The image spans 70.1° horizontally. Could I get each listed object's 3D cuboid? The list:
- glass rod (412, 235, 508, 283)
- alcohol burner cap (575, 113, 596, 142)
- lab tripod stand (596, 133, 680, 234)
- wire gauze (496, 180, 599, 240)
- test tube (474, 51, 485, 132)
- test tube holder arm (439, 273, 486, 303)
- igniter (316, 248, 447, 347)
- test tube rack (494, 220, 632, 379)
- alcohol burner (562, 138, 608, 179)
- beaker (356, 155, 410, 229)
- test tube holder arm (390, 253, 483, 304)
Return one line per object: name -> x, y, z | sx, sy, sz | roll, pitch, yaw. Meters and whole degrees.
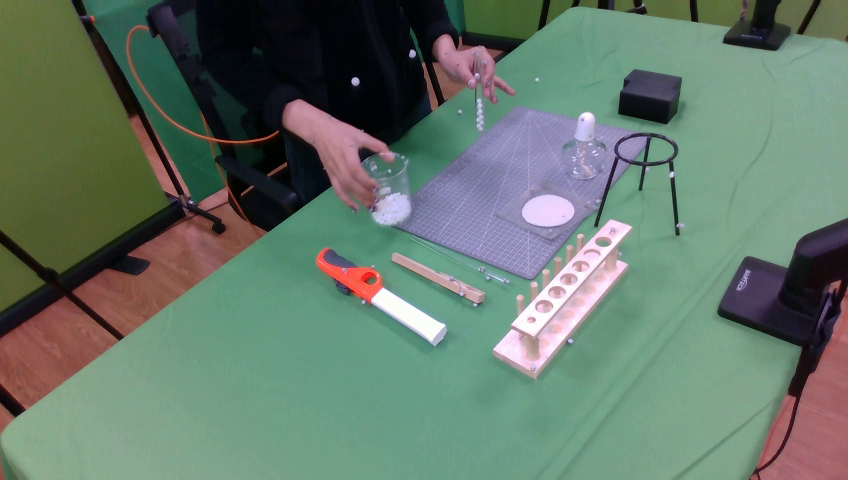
glass rod -> 0.051, 0.028, 0.951 | 0.198, 0.008, 0.008 | 25, 52, 37
alcohol burner cap -> 0.277, -0.193, 1.028 | 0.034, 0.048, 0.033 | -2, 45, 3
lab tripod stand -> 0.338, -0.090, 0.940 | 0.148, 0.132, 0.147 | -7, 38, 6
wire gauze -> 0.206, -0.050, 1.011 | 0.125, 0.011, 0.120 | -34, 45, -26
test tube -> 0.097, -0.256, 1.055 | 0.017, 0.151, 0.017 | -3, 40, 3
test tube holder arm -> 0.053, 0.071, 0.896 | 0.087, 0.015, 0.010 | 24, 16, 34
igniter -> -0.074, 0.079, 0.901 | 0.274, 0.025, 0.057 | 29, 63, 36
test tube rack -> 0.191, 0.068, 0.818 | 0.066, 0.085, 0.243 | 25, 51, 35
alcohol burner -> 0.280, -0.166, 1.051 | 0.078, 0.119, 0.077 | -5, 39, 4
beaker -> -0.060, -0.076, 0.966 | 0.084, 0.101, 0.073 | -23, 43, -17
test tube holder arm -> 0.015, 0.056, 0.916 | 0.177, 0.015, 0.013 | 24, 15, 33
